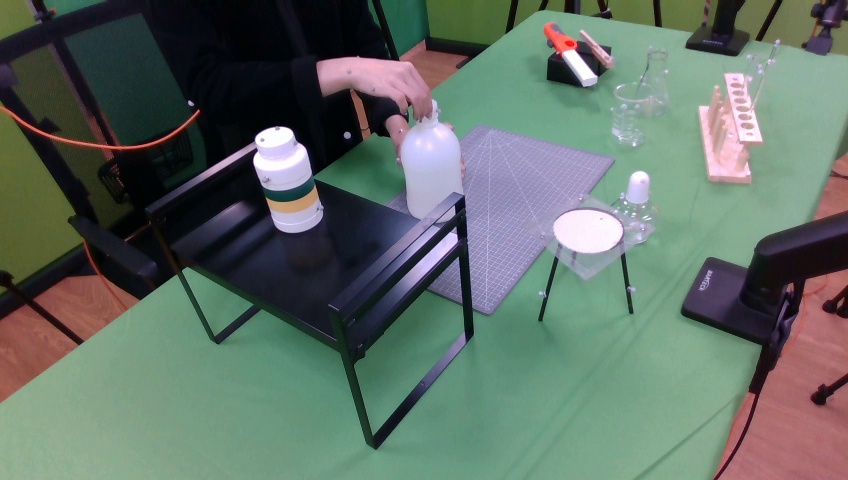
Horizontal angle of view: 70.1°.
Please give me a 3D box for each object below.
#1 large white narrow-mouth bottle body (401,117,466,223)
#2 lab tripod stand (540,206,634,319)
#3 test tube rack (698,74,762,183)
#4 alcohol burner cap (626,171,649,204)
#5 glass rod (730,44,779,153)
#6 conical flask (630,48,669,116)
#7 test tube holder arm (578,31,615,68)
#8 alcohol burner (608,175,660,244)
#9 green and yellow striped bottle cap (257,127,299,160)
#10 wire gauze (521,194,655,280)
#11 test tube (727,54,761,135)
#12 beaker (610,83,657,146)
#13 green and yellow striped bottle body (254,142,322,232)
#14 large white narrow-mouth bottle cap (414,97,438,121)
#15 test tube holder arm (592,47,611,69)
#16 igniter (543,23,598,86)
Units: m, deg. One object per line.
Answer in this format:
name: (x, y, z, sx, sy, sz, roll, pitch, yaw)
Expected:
large white narrow-mouth bottle body: (0.013, -0.129, 0.991, 0.102, 0.195, 0.101, -5, 39, 4)
lab tripod stand: (0.218, 0.034, 0.821, 0.148, 0.132, 0.147, -4, 42, 4)
test tube rack: (0.547, -0.208, 1.095, 0.066, 0.085, 0.242, 5, 42, 15)
alcohol burner cap: (0.320, -0.081, 0.900, 0.034, 0.048, 0.033, -4, 42, 4)
glass rod: (0.555, -0.234, 1.021, 0.008, 0.200, 0.008, 2, 40, -1)
conical flask: (0.457, -0.317, 1.205, 0.075, 0.122, 0.075, -4, 41, 4)
test tube holder arm: (0.383, -0.428, 1.351, 0.013, 0.015, 0.177, -12, 41, -3)
alcohol burner: (0.322, -0.053, 0.924, 0.078, 0.119, 0.077, -4, 43, 4)
green and yellow striped bottle cap: (-0.169, -0.112, 0.698, 0.045, 0.020, 0.045, -5, 40, 5)
wire gauze: (0.207, -0.012, 0.772, 0.122, 0.011, 0.124, -28, 44, -20)
test tube: (0.564, -0.254, 1.069, 0.017, 0.151, 0.017, -1, 40, 1)
beaker: (0.388, -0.235, 1.138, 0.074, 0.101, 0.083, -31, 45, -25)
green and yellow striped bottle body: (-0.165, -0.073, 0.732, 0.063, 0.120, 0.063, -4, 41, 4)
large white narrow-mouth bottle cap: (0.002, -0.202, 0.933, 0.038, 0.024, 0.037, -5, 39, 4)
test tube holder arm: (0.385, -0.398, 1.317, 0.010, 0.015, 0.087, -11, 41, -2)
igniter: (0.320, -0.419, 1.345, 0.057, 0.025, 0.274, -12, 44, -3)
